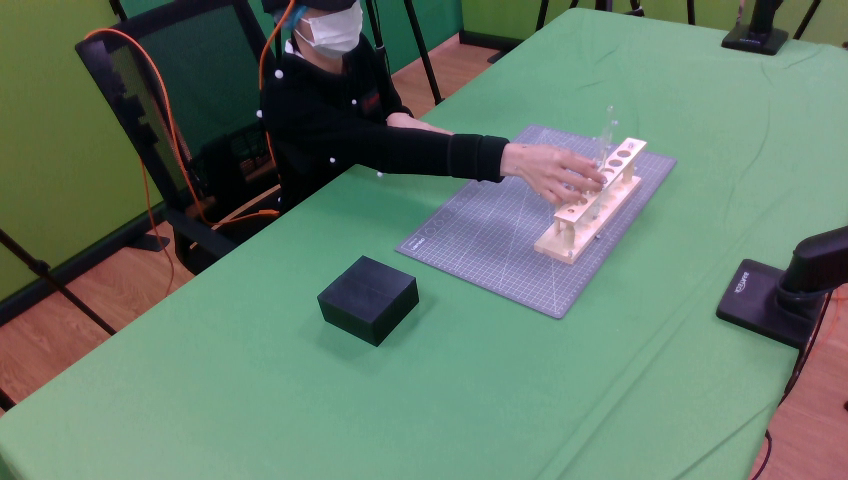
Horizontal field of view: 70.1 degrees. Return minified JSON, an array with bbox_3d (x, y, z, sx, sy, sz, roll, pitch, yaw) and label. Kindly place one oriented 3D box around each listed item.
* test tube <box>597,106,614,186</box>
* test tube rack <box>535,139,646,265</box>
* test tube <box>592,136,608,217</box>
[{"bbox_3d":[0.295,-0.150,0.984,0.017,0.151,0.017,-4,41,4],"label":"test tube"},{"bbox_3d":[0.269,-0.071,0.964,0.066,0.085,0.243,23,49,32],"label":"test tube rack"},{"bbox_3d":[0.265,-0.092,0.912,0.017,0.151,0.017,-5,44,6],"label":"test tube"}]
